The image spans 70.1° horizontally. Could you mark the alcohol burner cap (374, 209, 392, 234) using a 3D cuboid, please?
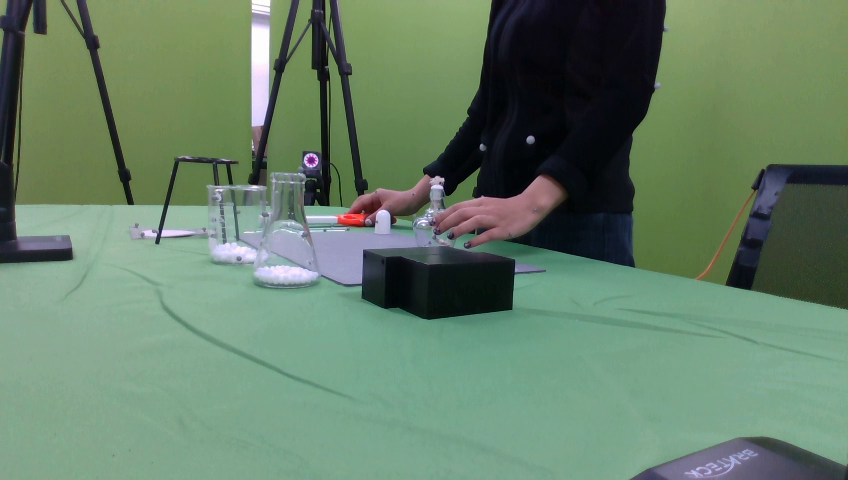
[{"bbox_3d":[-0.078,-0.036,1.148,0.034,0.048,0.034,2,7,0],"label":"alcohol burner cap"}]

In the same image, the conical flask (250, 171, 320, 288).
[{"bbox_3d":[-0.150,-0.013,0.658,0.075,0.122,0.075,2,7,0],"label":"conical flask"}]

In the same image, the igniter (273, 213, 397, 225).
[{"bbox_3d":[-0.176,-0.043,1.256,0.278,0.025,0.057,-2,10,-38],"label":"igniter"}]

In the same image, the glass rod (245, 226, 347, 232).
[{"bbox_3d":[-0.237,-0.021,1.140,0.201,0.008,0.008,-3,8,-33],"label":"glass rod"}]

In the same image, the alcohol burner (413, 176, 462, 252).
[{"bbox_3d":[0.021,-0.041,0.948,0.078,0.119,0.078,1,7,0],"label":"alcohol burner"}]

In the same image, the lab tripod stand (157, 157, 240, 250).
[{"bbox_3d":[-0.322,-0.057,0.905,0.148,0.131,0.148,4,7,0],"label":"lab tripod stand"}]

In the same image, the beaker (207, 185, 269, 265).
[{"bbox_3d":[-0.244,-0.021,0.784,0.083,0.100,0.074,6,8,30],"label":"beaker"}]

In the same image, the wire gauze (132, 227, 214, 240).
[{"bbox_3d":[-0.425,-0.013,1.018,0.122,0.011,0.124,-1,6,-28],"label":"wire gauze"}]
